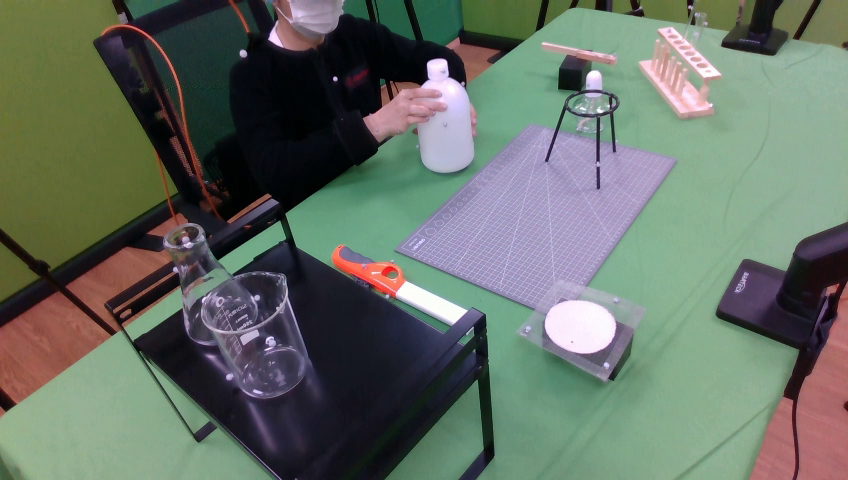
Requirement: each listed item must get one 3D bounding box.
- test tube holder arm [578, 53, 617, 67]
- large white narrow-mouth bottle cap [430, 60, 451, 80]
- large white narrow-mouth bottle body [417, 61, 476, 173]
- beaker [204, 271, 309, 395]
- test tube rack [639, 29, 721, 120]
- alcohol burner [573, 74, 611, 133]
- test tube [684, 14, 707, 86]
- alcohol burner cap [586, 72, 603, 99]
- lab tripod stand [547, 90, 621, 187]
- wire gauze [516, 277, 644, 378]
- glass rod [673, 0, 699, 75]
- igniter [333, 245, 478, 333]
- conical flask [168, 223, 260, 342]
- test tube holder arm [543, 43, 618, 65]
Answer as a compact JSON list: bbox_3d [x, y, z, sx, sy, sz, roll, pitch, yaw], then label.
[{"bbox_3d":[0.376,-0.393,1.314,0.087,0.015,0.010,26,51,32],"label":"test tube holder arm"},{"bbox_3d":[0.029,-0.295,1.049,0.038,0.024,0.037,-5,37,4],"label":"large white narrow-mouth bottle cap"},{"bbox_3d":[0.038,-0.227,1.101,0.102,0.195,0.101,-5,37,5],"label":"large white narrow-mouth bottle body"},{"bbox_3d":[-0.149,0.088,0.565,0.073,0.101,0.084,20,47,29],"label":"beaker"},{"bbox_3d":[0.527,-0.351,1.262,0.067,0.085,0.241,-8,40,1],"label":"test tube rack"},{"bbox_3d":[0.330,-0.270,1.177,0.078,0.119,0.077,-4,43,4],"label":"alcohol burner"},{"bbox_3d":[0.541,-0.379,1.216,0.017,0.151,0.017,-2,44,2],"label":"test tube"},{"bbox_3d":[0.325,-0.297,1.154,0.034,0.048,0.033,-8,35,6],"label":"alcohol burner cap"},{"bbox_3d":[0.289,-0.184,1.062,0.148,0.132,0.147,-6,41,6],"label":"lab tripod stand"},{"bbox_3d":[0.197,0.103,0.765,0.124,0.011,0.122,23,50,32],"label":"wire gauze"},{"bbox_3d":[0.541,-0.427,1.246,0.008,0.200,0.008,0,48,1],"label":"glass rod"},{"bbox_3d":[-0.038,0.068,0.905,0.274,0.025,0.057,24,60,32],"label":"igniter"},{"bbox_3d":[-0.219,0.040,0.614,0.075,0.122,0.075,-5,40,4],"label":"conical flask"},{"bbox_3d":[0.345,-0.413,1.340,0.177,0.015,0.013,25,50,31],"label":"test tube holder arm"}]
